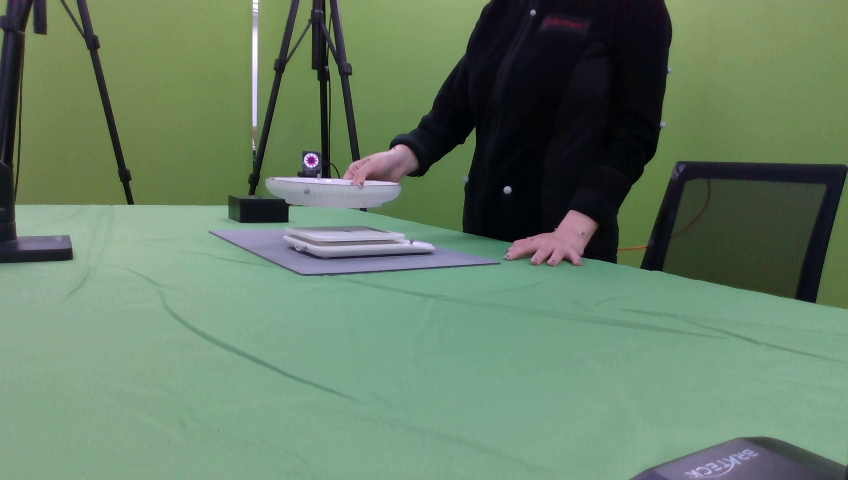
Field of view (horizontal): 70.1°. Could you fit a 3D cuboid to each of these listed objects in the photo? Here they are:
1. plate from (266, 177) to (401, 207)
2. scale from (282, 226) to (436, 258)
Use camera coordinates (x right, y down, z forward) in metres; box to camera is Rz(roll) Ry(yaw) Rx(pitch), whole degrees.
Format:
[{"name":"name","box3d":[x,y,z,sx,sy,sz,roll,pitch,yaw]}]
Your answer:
[{"name":"plate","box3d":[-0.139,-0.075,0.940,0.209,0.038,0.209,2,7,0]},{"name":"scale","box3d":[-0.098,0.000,0.915,0.202,0.031,0.148,-2,9,-33]}]
